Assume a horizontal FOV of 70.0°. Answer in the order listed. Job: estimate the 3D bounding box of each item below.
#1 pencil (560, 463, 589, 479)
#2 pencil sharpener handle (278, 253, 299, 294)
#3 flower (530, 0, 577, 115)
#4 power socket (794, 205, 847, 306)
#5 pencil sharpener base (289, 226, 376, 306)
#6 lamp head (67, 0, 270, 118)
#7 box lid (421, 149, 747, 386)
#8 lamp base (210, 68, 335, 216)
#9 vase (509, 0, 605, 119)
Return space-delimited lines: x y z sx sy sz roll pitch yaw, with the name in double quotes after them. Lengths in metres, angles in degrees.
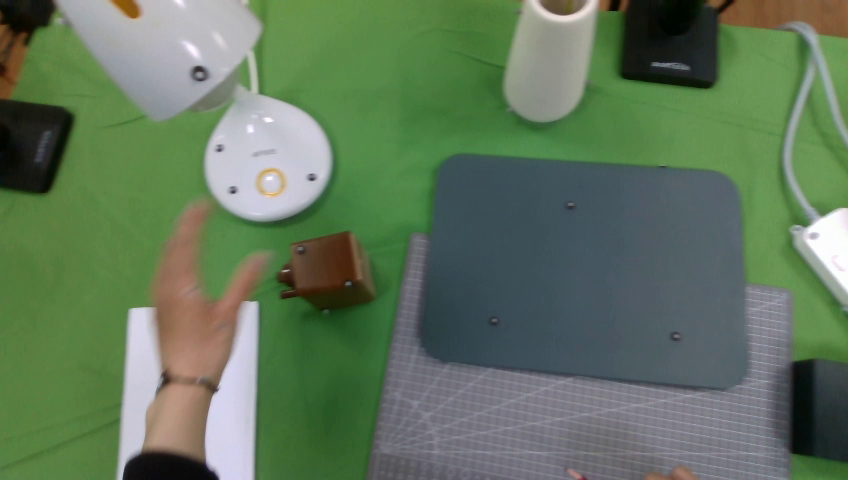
0.213 0.276 0.593 0.194 0.012 0.012 36 80 1 "pencil"
-0.152 0.042 0.673 0.030 0.068 0.035 -11 62 1 "pencil sharpener handle"
0.159 -0.255 0.614 0.044 0.364 0.038 -14 62 -16 "flower"
0.515 0.060 0.678 0.072 0.033 0.225 -30 75 -5 "power socket"
-0.102 0.032 0.685 0.077 0.107 0.061 -11 74 1 "pencil sharpener base"
-0.188 -0.167 0.421 0.112 0.124 0.111 -26 35 20 "lamp head"
0.191 0.025 0.718 0.371 0.015 0.262 5 75 5 "box lid"
-0.202 -0.138 0.700 0.160 0.181 0.178 -21 72 -2 "lamp base"
0.153 -0.220 0.691 0.098 0.201 0.097 -1 73 3 "vase"
